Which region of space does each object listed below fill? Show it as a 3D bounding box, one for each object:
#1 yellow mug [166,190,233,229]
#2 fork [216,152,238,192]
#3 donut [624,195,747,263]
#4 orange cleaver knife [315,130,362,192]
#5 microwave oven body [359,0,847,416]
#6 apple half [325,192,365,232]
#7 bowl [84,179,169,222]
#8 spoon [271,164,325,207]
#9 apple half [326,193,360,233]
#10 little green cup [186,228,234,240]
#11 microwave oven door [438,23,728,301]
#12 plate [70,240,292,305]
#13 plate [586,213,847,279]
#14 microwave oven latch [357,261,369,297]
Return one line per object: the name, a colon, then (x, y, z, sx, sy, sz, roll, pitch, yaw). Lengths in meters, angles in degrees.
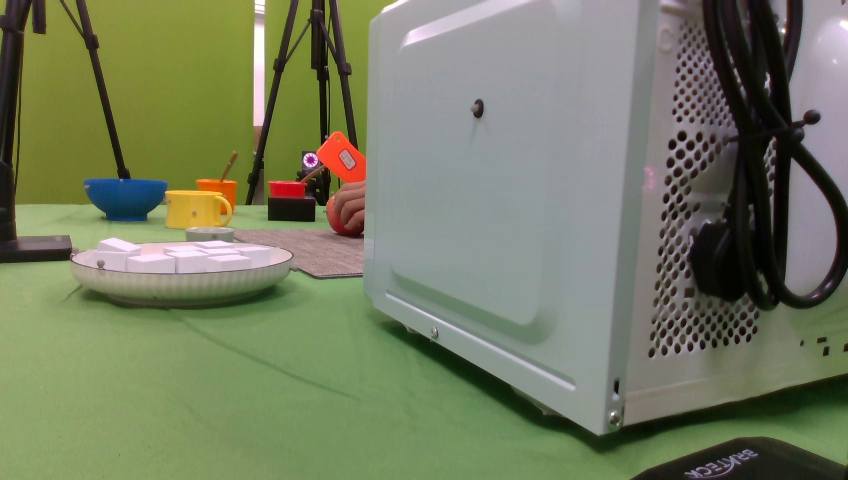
yellow mug: (-0.415, -0.057, 1.132, 0.130, 0.064, 0.100, 6, 8, 16)
fork: (-0.455, -0.132, 1.367, 0.028, 0.018, 0.207, -2, -35, -37)
donut: (0.222, -0.007, 0.518, 0.099, 0.048, 0.099, 18, 1, 0)
orange cleaver knife: (-0.109, -0.125, 1.126, 0.212, 0.077, 0.012, 32, -17, -34)
microwave oven body: (0.211, -0.047, 0.474, 0.444, 0.260, 0.324, -1, 7, -28)
apple half: (-0.151, -0.054, 1.121, 0.082, 0.081, 0.032, -2, 12, -28)
bowl: (-0.584, -0.078, 1.194, 0.151, 0.077, 0.151, 3, 8, 0)
spoon: (-0.307, -0.141, 1.513, 0.193, 0.021, 0.041, -41, 4, 8)
apple half: (-0.132, -0.047, 1.087, 0.081, 0.074, 0.053, 5, 10, -28)
little green cup: (-0.284, 0.005, 0.805, 0.061, 0.038, 0.061, 2, 8, 0)
microwave oven door: (0.181, -0.072, 0.621, 0.358, 0.243, 0.039, -2, 8, -29)
plate: (-0.242, 0.032, 0.618, 0.208, 0.039, 0.207, 2, 8, 0)
plate: (0.244, 0.002, 0.512, 0.209, 0.038, 0.209, 1, 7, 0)
microwave oven latch: (-0.019, 0.033, 0.531, 0.079, 0.029, 0.030, -1, 7, -27)
